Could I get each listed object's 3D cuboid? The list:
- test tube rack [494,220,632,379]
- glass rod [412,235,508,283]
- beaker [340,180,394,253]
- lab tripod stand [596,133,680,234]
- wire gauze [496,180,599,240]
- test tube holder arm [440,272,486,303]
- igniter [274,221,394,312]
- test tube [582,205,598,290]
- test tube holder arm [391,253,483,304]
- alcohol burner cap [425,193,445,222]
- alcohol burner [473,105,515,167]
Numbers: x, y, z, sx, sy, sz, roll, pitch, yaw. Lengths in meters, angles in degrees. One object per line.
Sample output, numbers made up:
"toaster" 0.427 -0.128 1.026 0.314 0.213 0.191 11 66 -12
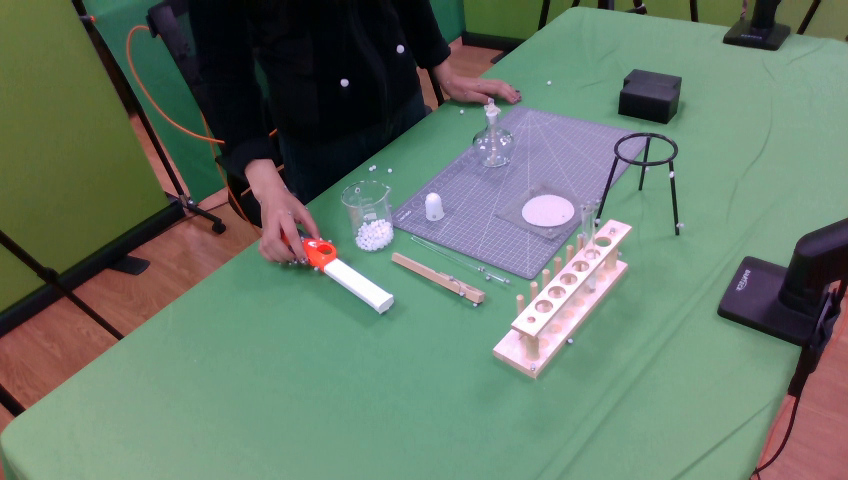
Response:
"test tube rack" 0.191 0.068 0.818 0.066 0.085 0.243 25 51 35
"glass rod" 0.051 0.028 0.951 0.198 0.008 0.008 25 51 37
"beaker" -0.087 -0.037 0.985 0.084 0.101 0.073 -18 41 -11
"lab tripod stand" 0.338 -0.091 0.940 0.148 0.132 0.147 -7 39 6
"wire gauze" 0.206 -0.050 1.012 0.125 0.011 0.120 -34 45 -26
"test tube holder arm" 0.053 0.070 0.896 0.087 0.015 0.010 24 17 34
"igniter" -0.150 0.035 0.944 0.274 0.025 0.057 30 50 35
"test tube" 0.220 0.014 0.798 0.017 0.151 0.017 -9 43 9
"test tube holder arm" 0.016 0.055 0.917 0.177 0.015 0.013 24 17 34
"alcohol burner cap" 0.017 -0.058 1.029 0.034 0.048 0.033 -6 40 5
"alcohol burner" 0.128 -0.196 1.116 0.078 0.119 0.077 -4 40 4
